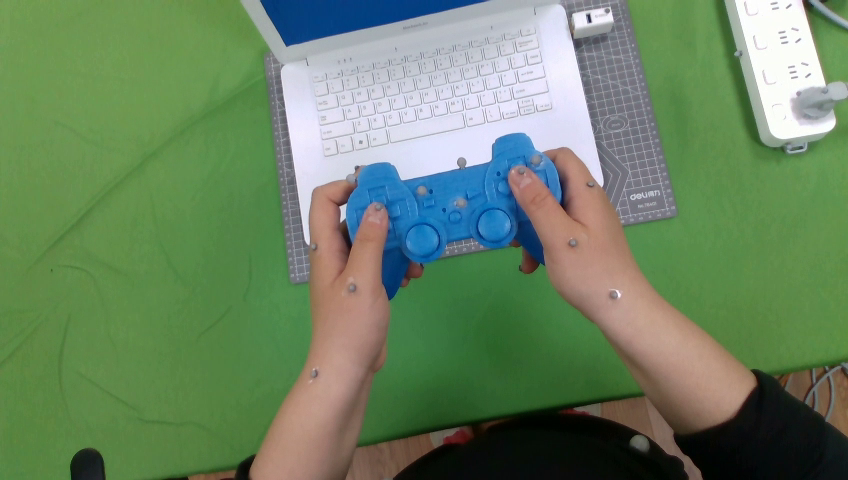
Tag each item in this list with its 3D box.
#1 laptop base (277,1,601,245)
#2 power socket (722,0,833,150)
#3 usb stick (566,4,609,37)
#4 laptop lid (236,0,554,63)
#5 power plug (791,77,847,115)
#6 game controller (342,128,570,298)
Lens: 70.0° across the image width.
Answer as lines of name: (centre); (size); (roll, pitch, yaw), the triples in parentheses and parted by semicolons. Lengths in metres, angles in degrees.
laptop base: (0.010, -0.138, 0.720); (0.354, 0.023, 0.234); (-11, 82, 5)
power socket: (0.392, -0.213, 0.679); (0.072, 0.033, 0.225); (-9, 79, 6)
usb stick: (0.183, -0.254, 0.706); (0.059, 0.027, 0.021); (-11, 79, 9)
laptop lid: (-0.029, -0.290, 0.630); (0.356, 0.243, 0.013); (-12, 70, 6)
power plug: (0.429, -0.149, 0.643); (0.072, 0.053, 0.035); (3, 80, 4)
game controller: (0.020, -0.017, 0.413); (0.155, 0.051, 0.097); (-12, 94, 2)
